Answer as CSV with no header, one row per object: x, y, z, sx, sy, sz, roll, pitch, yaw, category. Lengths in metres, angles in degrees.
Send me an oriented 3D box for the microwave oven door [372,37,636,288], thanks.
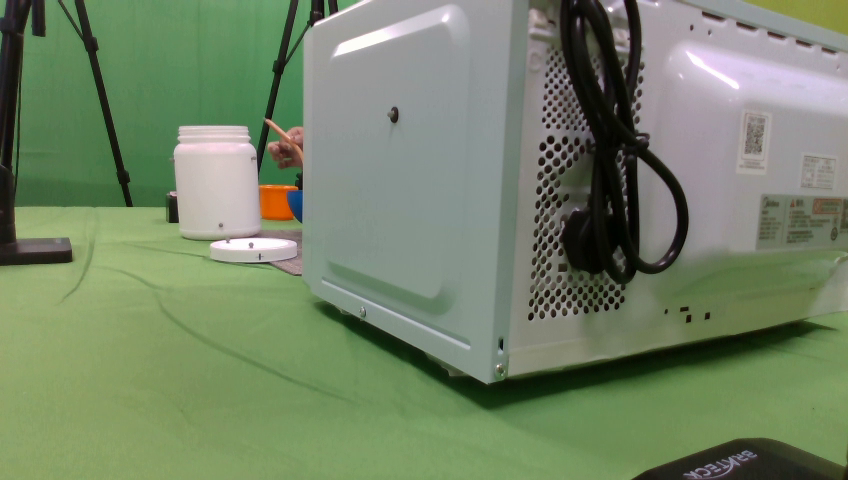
0.109,-0.080,0.686,0.358,0.243,0.039,-2,9,-33,microwave oven door

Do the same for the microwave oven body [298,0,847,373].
0.151,-0.055,0.542,0.444,0.260,0.324,-2,7,-33,microwave oven body

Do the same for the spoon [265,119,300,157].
-0.230,-0.161,1.084,0.193,0.021,0.042,49,25,23,spoon

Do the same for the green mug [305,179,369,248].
-0.133,-0.044,0.977,0.092,0.105,0.126,6,8,32,green mug

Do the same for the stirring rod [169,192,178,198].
-0.465,-0.098,1.283,0.014,0.006,0.177,42,21,17,stirring rod

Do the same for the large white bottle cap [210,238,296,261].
-0.236,0.012,0.839,0.115,0.018,0.115,1,7,0,large white bottle cap

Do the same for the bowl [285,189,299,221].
-0.179,-0.051,1.112,0.151,0.077,0.151,3,8,0,bowl

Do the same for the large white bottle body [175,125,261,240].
-0.349,-0.100,1.025,0.131,0.184,0.130,-1,9,0,large white bottle body

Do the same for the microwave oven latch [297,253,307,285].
-0.082,0.027,0.582,0.079,0.029,0.030,-1,7,-32,microwave oven latch
